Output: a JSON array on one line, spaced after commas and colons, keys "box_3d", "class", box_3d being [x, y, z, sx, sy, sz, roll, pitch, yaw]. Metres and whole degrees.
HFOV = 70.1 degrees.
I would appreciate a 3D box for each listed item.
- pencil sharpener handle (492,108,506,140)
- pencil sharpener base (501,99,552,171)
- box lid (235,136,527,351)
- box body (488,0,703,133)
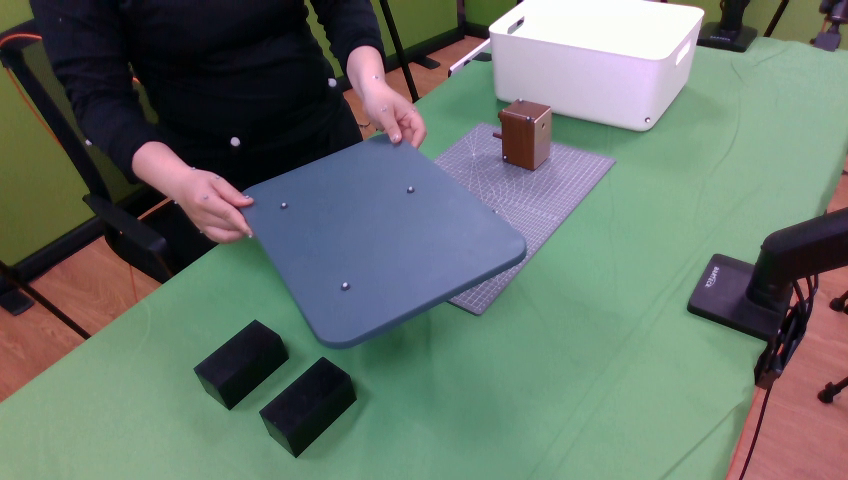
[{"box_3d": [0.141, -0.216, 1.114, 0.030, 0.068, 0.036, 23, 42, 32], "class": "pencil sharpener handle"}, {"box_3d": [0.184, -0.191, 1.097, 0.076, 0.107, 0.061, 23, 50, 32], "class": "pencil sharpener base"}, {"box_3d": [-0.072, -0.022, 0.766, 0.264, 0.015, 0.368, -25, 40, -19], "class": "box lid"}, {"box_3d": [0.346, -0.374, 1.251, 0.361, 0.161, 0.255, 20, 48, 29], "class": "box body"}]
